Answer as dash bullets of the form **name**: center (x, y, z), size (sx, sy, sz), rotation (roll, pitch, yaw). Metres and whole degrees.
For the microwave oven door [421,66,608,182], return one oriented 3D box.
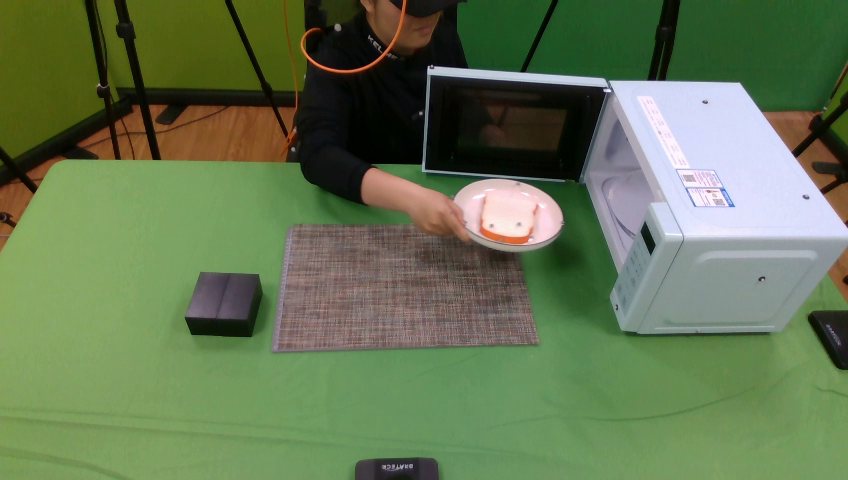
- **microwave oven door**: center (0.177, -0.237, 1.263), size (0.356, 0.245, 0.039), rotation (4, 46, 0)

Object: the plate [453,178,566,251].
- **plate**: center (0.157, -0.043, 1.128), size (0.209, 0.038, 0.208), rotation (4, 39, -3)

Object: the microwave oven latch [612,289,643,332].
- **microwave oven latch**: center (0.357, 0.124, 1.068), size (0.030, 0.029, 0.078), rotation (0, 45, -3)

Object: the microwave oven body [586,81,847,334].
- **microwave oven body**: center (0.501, -0.070, 1.132), size (0.326, 0.261, 0.438), rotation (-1, 45, -3)

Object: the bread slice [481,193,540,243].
- **bread slice**: center (0.160, -0.041, 1.129), size (0.105, 0.019, 0.131), rotation (11, 39, 7)
